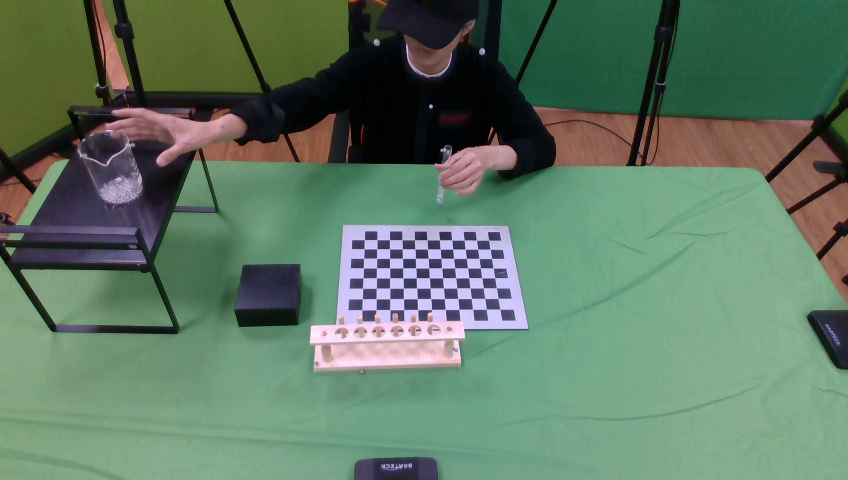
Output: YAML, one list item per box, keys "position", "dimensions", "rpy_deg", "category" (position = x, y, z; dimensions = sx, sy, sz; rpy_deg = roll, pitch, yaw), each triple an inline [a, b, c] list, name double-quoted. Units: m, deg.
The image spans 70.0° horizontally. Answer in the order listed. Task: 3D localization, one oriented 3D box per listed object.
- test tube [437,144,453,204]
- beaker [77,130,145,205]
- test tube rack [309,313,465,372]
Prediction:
- position: [0.040, -0.126, 1.183]
  dimensions: [0.017, 0.151, 0.017]
  rpy_deg: [3, 49, -4]
  category: "test tube"
- position: [-0.493, -0.111, 0.965]
  dimensions: [0.074, 0.101, 0.083]
  rpy_deg: [-14, 49, -16]
  category: "beaker"
- position: [-0.059, 0.161, 0.990]
  dimensions: [0.242, 0.085, 0.066]
  rpy_deg: [-1, 46, -5]
  category: "test tube rack"
